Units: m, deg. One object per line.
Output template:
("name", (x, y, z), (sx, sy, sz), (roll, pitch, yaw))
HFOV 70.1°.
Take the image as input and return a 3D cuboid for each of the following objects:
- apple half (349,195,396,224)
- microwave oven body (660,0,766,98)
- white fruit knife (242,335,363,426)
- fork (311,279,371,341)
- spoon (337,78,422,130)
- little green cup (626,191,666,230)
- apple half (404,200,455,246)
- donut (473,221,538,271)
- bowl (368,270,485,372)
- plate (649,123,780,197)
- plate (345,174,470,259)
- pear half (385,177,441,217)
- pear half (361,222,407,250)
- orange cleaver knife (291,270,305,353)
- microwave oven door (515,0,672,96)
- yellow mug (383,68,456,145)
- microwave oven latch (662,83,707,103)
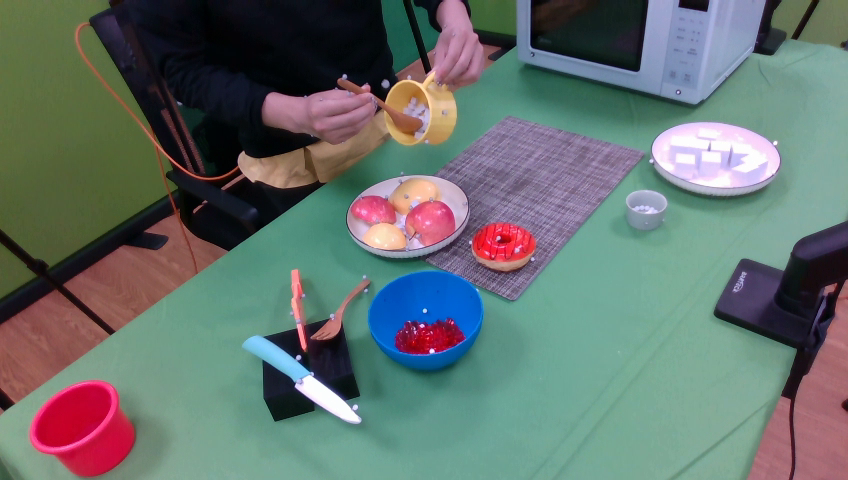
("apple half", (-0.081, -0.056, 1.008), (0.081, 0.033, 0.081), (11, 24, -5))
("microwave oven body", (0.472, -0.513, 1.317), (0.438, 0.261, 0.327), (26, 51, 34))
("white fruit knife", (-0.148, 0.166, 0.730), (0.206, 0.016, 0.027), (26, 80, 31))
("fork", (-0.108, 0.092, 0.832), (0.028, 0.019, 0.207), (-6, 19, 15))
("spoon", (-0.065, -0.203, 0.909), (0.041, 0.195, 0.021), (-21, 66, 30))
("little green cup", (0.352, -0.046, 0.963), (0.061, 0.039, 0.061), (-4, 40, 4))
("apple half", (0.009, -0.035, 0.969), (0.075, 0.053, 0.080), (-27, 40, -23))
("donut", (0.123, 0.008, 0.923), (0.099, 0.048, 0.098), (-3, 38, 3))
("bowl", (0.007, 0.118, 0.791), (0.151, 0.077, 0.150), (-5, 40, 4))
("plate", (0.497, -0.134, 1.046), (0.207, 0.039, 0.206), (-4, 40, 4))
("plate", (-0.026, -0.037, 1.004), (0.209, 0.038, 0.208), (-4, 40, 4))
("pear half", (-0.030, -0.079, 1.033), (0.109, 0.056, 0.076), (-1, 36, 16))
("pear half", (-0.063, -0.012, 0.958), (0.071, 0.031, 0.087), (2, 25, -25))
("orange cleaver knife", (-0.175, 0.094, 0.844), (0.012, 0.077, 0.210), (-11, 14, -10))
("microwave oven door", (0.344, -0.455, 1.259), (0.353, 0.245, 0.039), (26, 51, 33))
("yellow mug", (0.000, -0.214, 0.952), (0.099, 0.130, 0.064), (47, 34, 22))
("microwave oven latch", (0.517, -0.296, 1.204), (0.078, 0.029, 0.030), (28, 52, 35))
